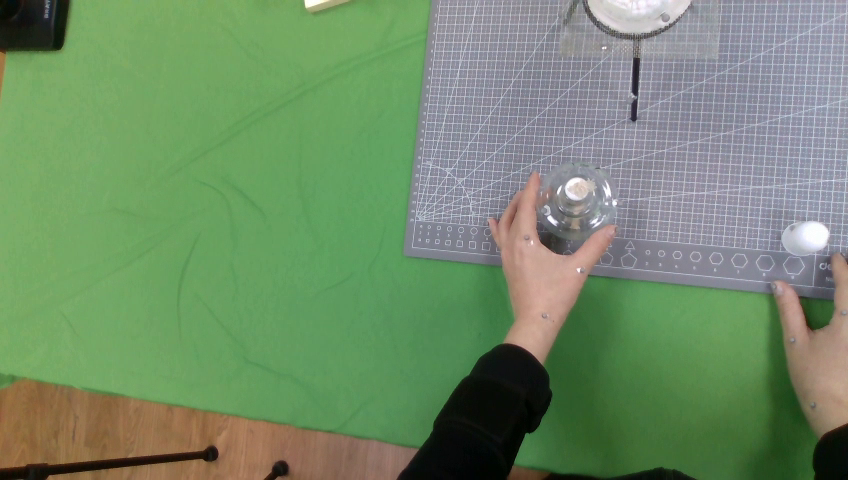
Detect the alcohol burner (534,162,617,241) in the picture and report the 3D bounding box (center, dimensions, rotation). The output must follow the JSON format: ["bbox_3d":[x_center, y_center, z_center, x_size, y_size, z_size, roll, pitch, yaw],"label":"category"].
[{"bbox_3d":[0.142,-0.039,0.567,0.078,0.119,0.077,-1,84,13],"label":"alcohol burner"}]

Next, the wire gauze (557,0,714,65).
[{"bbox_3d":[0.174,-0.205,0.494,0.125,0.011,0.121,5,90,13],"label":"wire gauze"}]

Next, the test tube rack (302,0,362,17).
[{"bbox_3d":[-0.039,-0.326,0.657,0.242,0.085,0.066,-12,82,14],"label":"test tube rack"}]

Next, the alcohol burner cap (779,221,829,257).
[{"bbox_3d":[0.346,-0.003,0.547,0.034,0.048,0.034,-1,84,15],"label":"alcohol burner cap"}]

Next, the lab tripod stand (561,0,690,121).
[{"bbox_3d":[0.191,-0.198,0.557,0.148,0.132,0.148,-1,86,14],"label":"lab tripod stand"}]

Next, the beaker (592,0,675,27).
[{"bbox_3d":[0.156,-0.210,0.449,0.083,0.101,0.074,19,91,16],"label":"beaker"}]
